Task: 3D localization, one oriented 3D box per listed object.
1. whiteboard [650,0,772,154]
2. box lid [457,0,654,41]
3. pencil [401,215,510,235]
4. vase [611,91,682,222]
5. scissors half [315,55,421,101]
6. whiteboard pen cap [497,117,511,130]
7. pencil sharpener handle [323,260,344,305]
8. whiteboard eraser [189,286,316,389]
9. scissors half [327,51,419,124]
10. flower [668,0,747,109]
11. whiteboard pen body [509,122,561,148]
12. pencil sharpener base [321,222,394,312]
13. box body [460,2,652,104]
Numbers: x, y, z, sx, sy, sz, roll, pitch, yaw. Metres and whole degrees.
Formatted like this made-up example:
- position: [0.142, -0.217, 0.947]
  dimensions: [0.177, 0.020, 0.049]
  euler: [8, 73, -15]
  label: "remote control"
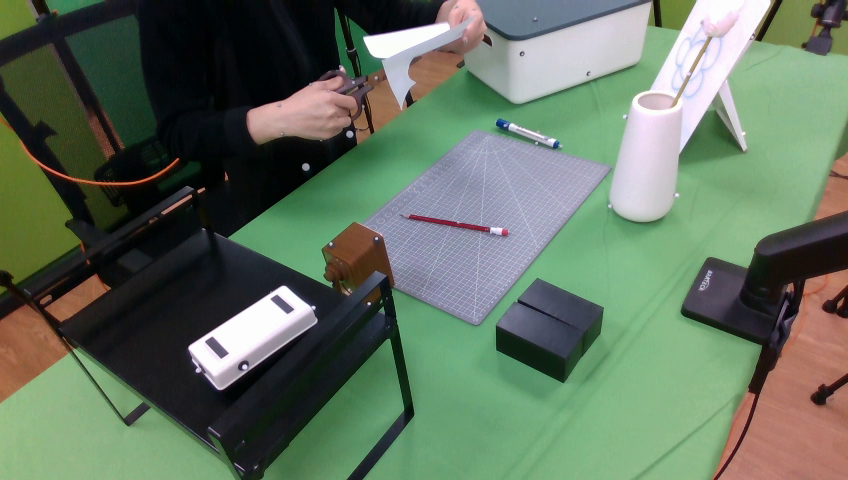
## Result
- position: [0.543, -0.298, 1.076]
  dimensions: [0.144, 0.305, 0.216]
  euler: [12, 40, -7]
  label: "whiteboard"
- position: [0.285, -0.522, 1.323]
  dimensions: [0.373, 0.015, 0.261]
  euler: [-22, 43, -16]
  label: "box lid"
- position: [0.049, -0.027, 1.007]
  dimensions: [0.193, 0.012, 0.012]
  euler: [10, 43, 21]
  label: "pencil"
- position: [0.348, -0.125, 0.935]
  dimensions: [0.098, 0.201, 0.097]
  euler: [-3, 40, 3]
  label: "vase"
- position: [-0.086, -0.248, 0.905]
  dimensions: [0.175, 0.040, 0.013]
  euler: [-13, 24, 15]
  label: "scissors half"
- position: [0.165, -0.235, 1.227]
  dimensions: [0.033, 0.018, 0.018]
  euler: [31, 53, 31]
  label: "whiteboard pen cap"
- position: [-0.131, 0.062, 0.839]
  dimensions: [0.035, 0.068, 0.031]
  euler: [29, 55, 28]
  label: "pencil sharpener handle"
- position: [-0.166, 0.096, 0.593]
  dimensions: [0.113, 0.042, 0.055]
  euler: [-36, 47, -29]
  label: "whiteboard eraser"
- position: [-0.076, -0.230, 0.911]
  dimensions: [0.175, 0.040, 0.013]
  euler: [-34, 12, 22]
  label: "scissors half"
- position: [0.354, -0.187, 0.879]
  dimensions: [0.038, 0.362, 0.044]
  euler: [30, 48, 14]
  label: "flower"
- position: [0.209, -0.212, 1.195]
  dimensions: [0.139, 0.017, 0.017]
  euler: [30, 52, 33]
  label: "whiteboard pen body"
- position: [-0.096, 0.041, 0.873]
  dimensions: [0.061, 0.107, 0.077]
  euler: [25, 54, 32]
  label: "pencil sharpener base"
- position: [0.291, -0.465, 1.371]
  dimensions: [0.365, 0.161, 0.252]
  euler: [-22, 42, -16]
  label: "box body"
